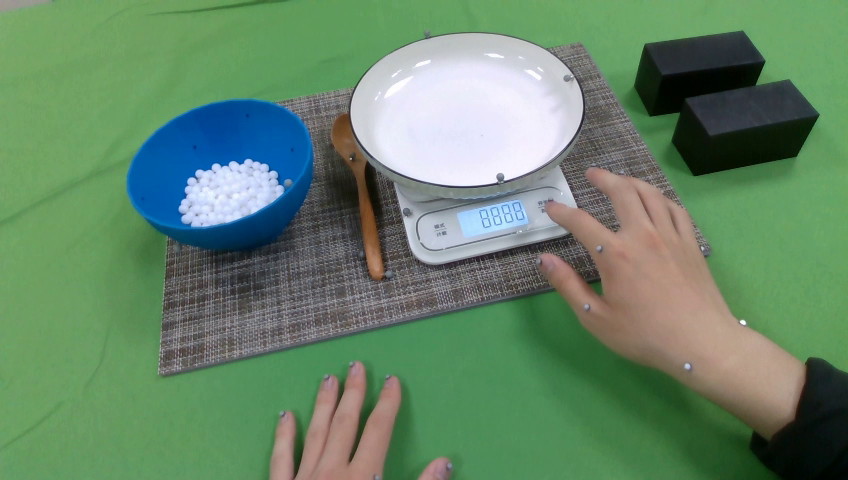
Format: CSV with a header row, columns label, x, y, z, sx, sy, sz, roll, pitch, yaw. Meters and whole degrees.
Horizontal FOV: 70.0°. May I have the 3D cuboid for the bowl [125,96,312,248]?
label,x,y,z,sx,sy,sz,roll,pitch,yaw
bowl,-0.164,-0.045,0.523,0.151,0.077,0.150,-2,53,3

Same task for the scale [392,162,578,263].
label,x,y,z,sx,sy,sz,roll,pitch,yaw
scale,0.042,-0.076,0.557,0.149,0.032,0.198,-13,53,-4

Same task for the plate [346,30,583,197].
label,x,y,z,sx,sy,sz,roll,pitch,yaw
plate,0.035,-0.113,0.545,0.209,0.038,0.207,-2,53,3

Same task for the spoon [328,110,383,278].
label,x,y,z,sx,sy,sz,roll,pitch,yaw
spoon,-0.059,-0.048,0.550,0.042,0.022,0.191,-3,52,-14
